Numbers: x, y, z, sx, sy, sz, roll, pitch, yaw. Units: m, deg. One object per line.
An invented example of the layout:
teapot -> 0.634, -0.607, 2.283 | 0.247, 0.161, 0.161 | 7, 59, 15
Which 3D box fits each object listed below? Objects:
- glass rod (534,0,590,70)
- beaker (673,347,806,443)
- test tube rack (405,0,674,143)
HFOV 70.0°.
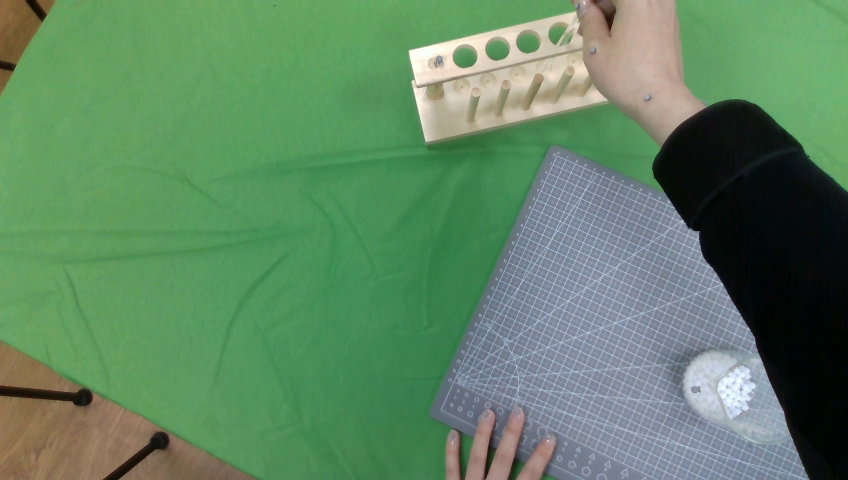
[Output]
glass rod -> 0.124, -0.186, 0.508 | 0.008, 0.200, 0.008 | 1, 82, -7
beaker -> 0.274, 0.134, 0.546 | 0.084, 0.100, 0.074 | 14, 84, 2
test tube rack -> 0.108, -0.161, 0.582 | 0.242, 0.085, 0.066 | -13, 84, -1
